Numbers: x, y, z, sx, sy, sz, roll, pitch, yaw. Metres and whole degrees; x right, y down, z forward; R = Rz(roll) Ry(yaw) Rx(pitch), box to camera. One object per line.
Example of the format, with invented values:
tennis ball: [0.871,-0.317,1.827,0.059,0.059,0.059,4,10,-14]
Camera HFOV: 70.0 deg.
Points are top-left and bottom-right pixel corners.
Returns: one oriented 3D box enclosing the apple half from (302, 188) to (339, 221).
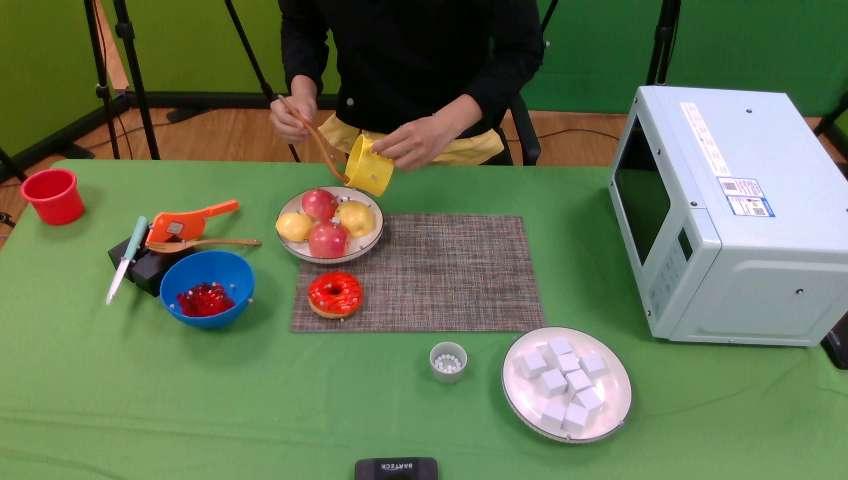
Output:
apple half: [-0.205,-0.076,1.217,0.081,0.033,0.081,18,46,-20]

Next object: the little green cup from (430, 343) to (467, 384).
little green cup: [0.039,0.203,0.994,0.061,0.039,0.061,2,46,-2]

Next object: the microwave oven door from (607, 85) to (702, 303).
microwave oven door: [0.423,-0.094,1.140,0.039,0.245,0.353,2,46,-1]

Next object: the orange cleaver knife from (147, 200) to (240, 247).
orange cleaver knife: [-0.435,-0.033,1.157,0.012,0.077,0.211,31,26,18]

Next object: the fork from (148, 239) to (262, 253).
fork: [-0.398,0.008,1.117,0.208,0.019,0.028,-5,34,-37]

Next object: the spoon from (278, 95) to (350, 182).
spoon: [-0.193,-0.178,1.073,0.021,0.194,0.041,-31,25,6]

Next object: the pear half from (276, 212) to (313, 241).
pear half: [-0.244,-0.035,1.178,0.070,0.031,0.088,40,42,2]

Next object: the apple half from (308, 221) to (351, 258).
apple half: [-0.180,-0.005,1.150,0.074,0.053,0.080,14,43,8]

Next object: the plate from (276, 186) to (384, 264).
plate: [-0.184,-0.027,1.195,0.209,0.038,0.208,2,46,-2]

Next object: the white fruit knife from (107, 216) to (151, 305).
white fruit knife: [-0.518,0.032,1.066,0.027,0.016,0.206,-19,45,19]

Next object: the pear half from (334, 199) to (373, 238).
pear half: [-0.147,-0.059,1.210,0.076,0.056,0.109,-16,44,-24]

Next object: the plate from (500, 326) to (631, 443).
plate: [0.224,0.234,0.978,0.208,0.039,0.206,2,46,-2]

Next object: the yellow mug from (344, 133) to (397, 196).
yellow mug: [-0.093,-0.142,1.094,0.064,0.131,0.099,16,64,-20]

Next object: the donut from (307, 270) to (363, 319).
donut: [-0.157,0.097,1.073,0.099,0.048,0.098,4,45,-4]

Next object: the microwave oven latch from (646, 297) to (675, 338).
microwave oven latch: [0.412,0.134,1.061,0.030,0.029,0.078,4,45,1]

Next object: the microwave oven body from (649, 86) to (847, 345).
microwave oven body: [0.568,-0.053,1.118,0.326,0.261,0.439,2,45,-1]

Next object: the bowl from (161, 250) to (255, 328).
bowl: [-0.362,0.097,1.040,0.151,0.077,0.150,2,45,-2]
